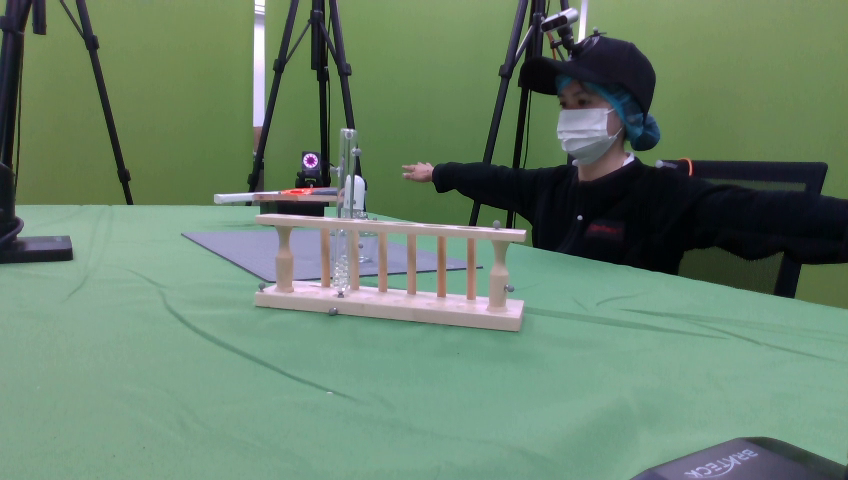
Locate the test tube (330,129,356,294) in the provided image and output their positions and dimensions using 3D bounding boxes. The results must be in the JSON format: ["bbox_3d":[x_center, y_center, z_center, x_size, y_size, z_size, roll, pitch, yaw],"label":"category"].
[{"bbox_3d":[-0.074,-0.025,0.548,0.017,0.150,0.017,4,6,0],"label":"test tube"}]

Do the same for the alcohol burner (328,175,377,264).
[{"bbox_3d":[-0.098,-0.028,0.819,0.078,0.119,0.078,1,8,0],"label":"alcohol burner"}]

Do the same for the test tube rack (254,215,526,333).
[{"bbox_3d":[-0.030,0.025,0.558,0.242,0.085,0.067,4,7,12],"label":"test tube rack"}]

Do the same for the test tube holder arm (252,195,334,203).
[{"bbox_3d":[-0.262,-0.084,1.227,0.179,0.015,0.013,-4,7,-39],"label":"test tube holder arm"}]

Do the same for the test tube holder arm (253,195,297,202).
[{"bbox_3d":[-0.294,-0.082,1.194,0.088,0.015,0.010,-4,7,-38],"label":"test tube holder arm"}]

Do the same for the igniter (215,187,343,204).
[{"bbox_3d":[-0.290,-0.093,1.256,0.278,0.025,0.057,-6,11,-34],"label":"igniter"}]

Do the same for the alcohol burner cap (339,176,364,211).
[{"bbox_3d":[-0.096,-0.063,0.814,0.034,0.048,0.034,7,6,0],"label":"alcohol burner cap"}]
